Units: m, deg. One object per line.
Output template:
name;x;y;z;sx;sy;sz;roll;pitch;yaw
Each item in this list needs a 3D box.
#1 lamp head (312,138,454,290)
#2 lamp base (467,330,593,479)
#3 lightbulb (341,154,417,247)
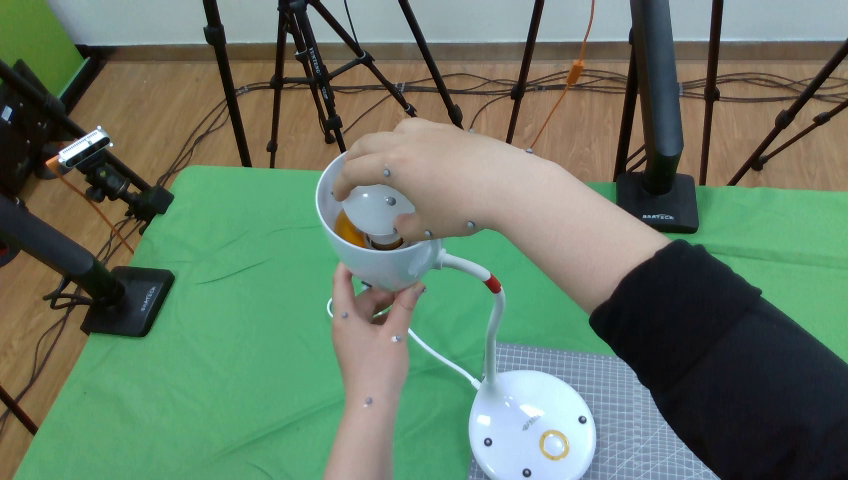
lamp head;-0.029;-0.009;0.524;0.112;0.124;0.111;-3;57;5
lamp base;0.114;0.185;0.720;0.177;0.182;0.160;27;62;29
lightbulb;-0.035;-0.025;0.496;0.059;0.108;0.059;0;61;0
